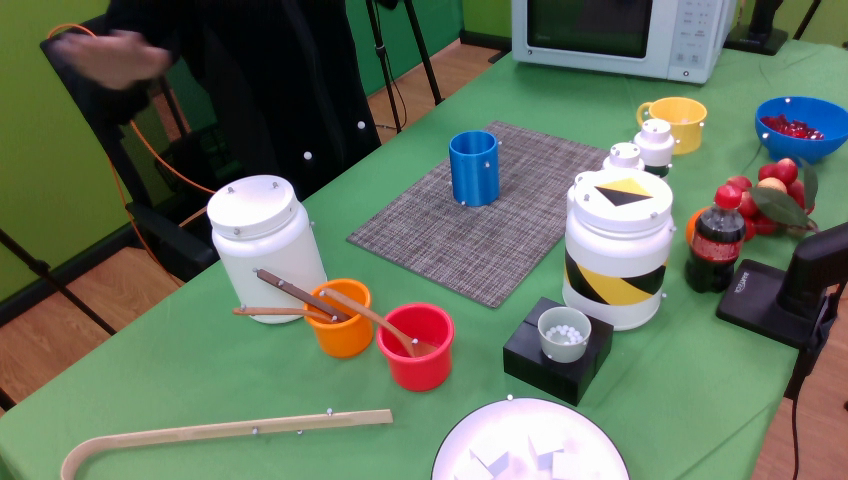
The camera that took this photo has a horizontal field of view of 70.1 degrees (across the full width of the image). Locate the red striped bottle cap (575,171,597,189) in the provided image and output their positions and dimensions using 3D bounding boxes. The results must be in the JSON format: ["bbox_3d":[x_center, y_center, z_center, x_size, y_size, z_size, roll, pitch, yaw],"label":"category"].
[{"bbox_3d":[0.242,-0.081,0.876,0.044,0.018,0.044,-5,44,5],"label":"red striped bottle cap"}]

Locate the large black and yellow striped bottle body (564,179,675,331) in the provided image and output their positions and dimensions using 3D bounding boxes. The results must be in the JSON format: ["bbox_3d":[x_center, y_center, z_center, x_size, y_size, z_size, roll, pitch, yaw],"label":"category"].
[{"bbox_3d":[0.253,0.014,0.793,0.131,0.185,0.130,-5,40,4],"label":"large black and yellow striped bottle body"}]

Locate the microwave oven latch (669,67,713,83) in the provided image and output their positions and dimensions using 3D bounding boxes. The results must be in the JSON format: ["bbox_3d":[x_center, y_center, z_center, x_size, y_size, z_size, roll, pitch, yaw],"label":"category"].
[{"bbox_3d":[0.556,-0.348,1.262,0.078,0.029,0.030,15,46,26],"label":"microwave oven latch"}]

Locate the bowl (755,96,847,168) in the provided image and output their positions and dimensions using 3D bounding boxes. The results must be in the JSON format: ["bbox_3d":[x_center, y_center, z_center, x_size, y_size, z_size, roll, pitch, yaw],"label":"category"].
[{"bbox_3d":[0.645,-0.177,1.041,0.151,0.077,0.150,-5,40,4],"label":"bowl"}]

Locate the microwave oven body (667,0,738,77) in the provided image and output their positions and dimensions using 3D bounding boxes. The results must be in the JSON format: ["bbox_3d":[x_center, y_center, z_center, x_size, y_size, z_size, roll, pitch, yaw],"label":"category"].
[{"bbox_3d":[0.462,-0.552,1.369,0.439,0.261,0.326,15,45,26],"label":"microwave oven body"}]

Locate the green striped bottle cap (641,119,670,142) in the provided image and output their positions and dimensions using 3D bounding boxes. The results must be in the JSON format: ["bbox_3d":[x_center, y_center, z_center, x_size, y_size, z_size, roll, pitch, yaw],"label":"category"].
[{"bbox_3d":[0.371,-0.175,0.968,0.044,0.020,0.044,-4,42,4],"label":"green striped bottle cap"}]

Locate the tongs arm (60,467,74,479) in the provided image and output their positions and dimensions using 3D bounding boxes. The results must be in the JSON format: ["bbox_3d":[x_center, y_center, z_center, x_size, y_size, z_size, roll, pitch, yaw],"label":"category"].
[{"bbox_3d":[-0.239,0.301,0.648,0.386,0.028,0.028,6,49,16],"label":"tongs arm"}]

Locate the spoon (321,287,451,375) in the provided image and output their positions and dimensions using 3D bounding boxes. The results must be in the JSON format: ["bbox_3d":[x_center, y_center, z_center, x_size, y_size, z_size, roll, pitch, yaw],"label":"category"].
[{"bbox_3d":[-0.046,0.111,0.757,0.194,0.021,0.041,38,47,-16],"label":"spoon"}]

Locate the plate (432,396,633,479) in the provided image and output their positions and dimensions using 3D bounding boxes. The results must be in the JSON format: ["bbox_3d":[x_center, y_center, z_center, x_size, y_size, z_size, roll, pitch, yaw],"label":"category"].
[{"bbox_3d":[0.112,0.261,0.634,0.209,0.038,0.208,-5,40,4],"label":"plate"}]

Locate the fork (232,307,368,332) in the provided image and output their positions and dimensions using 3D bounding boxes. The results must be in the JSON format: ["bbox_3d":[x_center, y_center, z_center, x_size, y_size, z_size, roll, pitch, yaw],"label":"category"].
[{"bbox_3d":[-0.152,0.101,0.781,0.209,0.018,0.028,18,18,-46],"label":"fork"}]

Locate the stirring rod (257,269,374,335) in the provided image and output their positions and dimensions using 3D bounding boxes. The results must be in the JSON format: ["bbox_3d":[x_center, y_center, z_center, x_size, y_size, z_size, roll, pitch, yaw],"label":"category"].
[{"bbox_3d":[-0.143,0.084,0.808,0.177,0.006,0.014,30,43,-19],"label":"stirring rod"}]

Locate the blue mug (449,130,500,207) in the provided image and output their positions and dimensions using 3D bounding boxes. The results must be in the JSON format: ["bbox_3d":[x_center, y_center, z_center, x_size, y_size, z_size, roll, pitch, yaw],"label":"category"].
[{"bbox_3d":[0.089,-0.132,1.049,0.082,0.106,0.116,0,40,9],"label":"blue mug"}]

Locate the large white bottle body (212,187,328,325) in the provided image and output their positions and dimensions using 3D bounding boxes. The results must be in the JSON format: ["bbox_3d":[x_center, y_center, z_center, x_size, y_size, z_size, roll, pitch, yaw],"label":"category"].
[{"bbox_3d":[-0.220,0.016,0.864,0.130,0.185,0.130,-5,40,4],"label":"large white bottle body"}]

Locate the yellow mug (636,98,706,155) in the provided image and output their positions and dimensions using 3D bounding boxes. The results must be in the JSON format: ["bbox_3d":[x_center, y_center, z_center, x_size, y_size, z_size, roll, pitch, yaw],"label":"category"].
[{"bbox_3d":[0.453,-0.217,1.129,0.100,0.064,0.129,-34,46,-27],"label":"yellow mug"}]

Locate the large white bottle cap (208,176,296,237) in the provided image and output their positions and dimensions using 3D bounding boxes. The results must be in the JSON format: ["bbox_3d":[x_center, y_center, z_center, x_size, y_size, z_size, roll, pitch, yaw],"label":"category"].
[{"bbox_3d":[-0.229,-0.048,0.809,0.115,0.018,0.114,-4,40,4],"label":"large white bottle cap"}]

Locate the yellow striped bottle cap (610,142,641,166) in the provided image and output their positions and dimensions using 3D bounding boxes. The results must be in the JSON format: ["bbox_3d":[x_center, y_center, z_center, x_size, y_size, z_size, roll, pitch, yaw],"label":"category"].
[{"bbox_3d":[0.308,-0.131,0.925,0.044,0.019,0.044,-4,45,4],"label":"yellow striped bottle cap"}]

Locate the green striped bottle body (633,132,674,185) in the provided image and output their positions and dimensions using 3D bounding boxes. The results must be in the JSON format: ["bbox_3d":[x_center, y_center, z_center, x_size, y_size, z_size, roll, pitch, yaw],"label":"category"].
[{"bbox_3d":[0.376,-0.135,1.001,0.063,0.120,0.063,-5,40,5],"label":"green striped bottle body"}]

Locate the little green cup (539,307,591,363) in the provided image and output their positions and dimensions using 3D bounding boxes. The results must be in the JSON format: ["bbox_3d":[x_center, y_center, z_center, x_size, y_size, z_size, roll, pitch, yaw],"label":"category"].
[{"bbox_3d":[0.167,0.114,0.721,0.061,0.039,0.061,-4,43,4],"label":"little green cup"}]

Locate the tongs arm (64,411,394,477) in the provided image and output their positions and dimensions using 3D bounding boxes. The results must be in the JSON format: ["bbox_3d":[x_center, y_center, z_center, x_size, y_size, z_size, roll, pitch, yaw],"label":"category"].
[{"bbox_3d":[-0.228,0.241,0.715,0.385,0.026,0.050,-5,43,4],"label":"tongs arm"}]

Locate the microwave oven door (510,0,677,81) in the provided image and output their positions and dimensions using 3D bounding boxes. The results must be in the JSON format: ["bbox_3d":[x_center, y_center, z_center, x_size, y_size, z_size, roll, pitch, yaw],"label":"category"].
[{"bbox_3d":[0.354,-0.478,1.290,0.353,0.245,0.039,15,45,25],"label":"microwave oven door"}]

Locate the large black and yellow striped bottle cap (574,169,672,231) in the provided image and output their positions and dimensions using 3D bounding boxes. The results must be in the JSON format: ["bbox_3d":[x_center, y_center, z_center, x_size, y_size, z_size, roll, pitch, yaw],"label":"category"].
[{"bbox_3d":[0.242,-0.051,0.738,0.115,0.019,0.114,-4,37,3],"label":"large black and yellow striped bottle cap"}]

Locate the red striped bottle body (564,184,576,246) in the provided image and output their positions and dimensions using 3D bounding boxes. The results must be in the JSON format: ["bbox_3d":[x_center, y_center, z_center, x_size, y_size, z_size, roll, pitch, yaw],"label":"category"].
[{"bbox_3d":[0.247,-0.041,0.910,0.063,0.120,0.062,-3,39,3],"label":"red striped bottle body"}]

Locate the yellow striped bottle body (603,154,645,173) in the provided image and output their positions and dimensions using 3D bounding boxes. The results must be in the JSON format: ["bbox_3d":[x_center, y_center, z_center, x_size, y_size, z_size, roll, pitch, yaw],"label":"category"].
[{"bbox_3d":[0.314,-0.091,0.957,0.063,0.121,0.062,-4,40,4],"label":"yellow striped bottle body"}]
